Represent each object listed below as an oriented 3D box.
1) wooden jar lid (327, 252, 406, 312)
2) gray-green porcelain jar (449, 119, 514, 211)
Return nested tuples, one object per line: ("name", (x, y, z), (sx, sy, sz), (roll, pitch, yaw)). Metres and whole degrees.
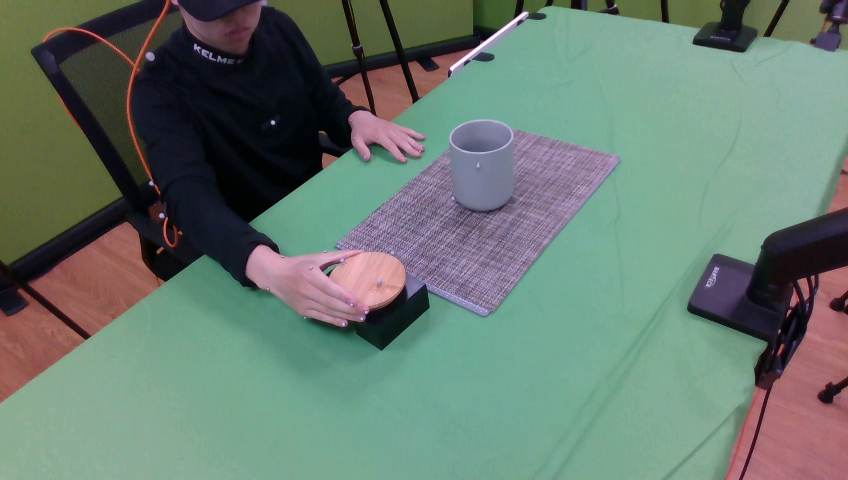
("wooden jar lid", (-0.078, 0.059, 0.830), (0.108, 0.021, 0.108), (-4, 40, 4))
("gray-green porcelain jar", (0.098, -0.120, 1.008), (0.106, 0.127, 0.105), (-4, 41, 4))
